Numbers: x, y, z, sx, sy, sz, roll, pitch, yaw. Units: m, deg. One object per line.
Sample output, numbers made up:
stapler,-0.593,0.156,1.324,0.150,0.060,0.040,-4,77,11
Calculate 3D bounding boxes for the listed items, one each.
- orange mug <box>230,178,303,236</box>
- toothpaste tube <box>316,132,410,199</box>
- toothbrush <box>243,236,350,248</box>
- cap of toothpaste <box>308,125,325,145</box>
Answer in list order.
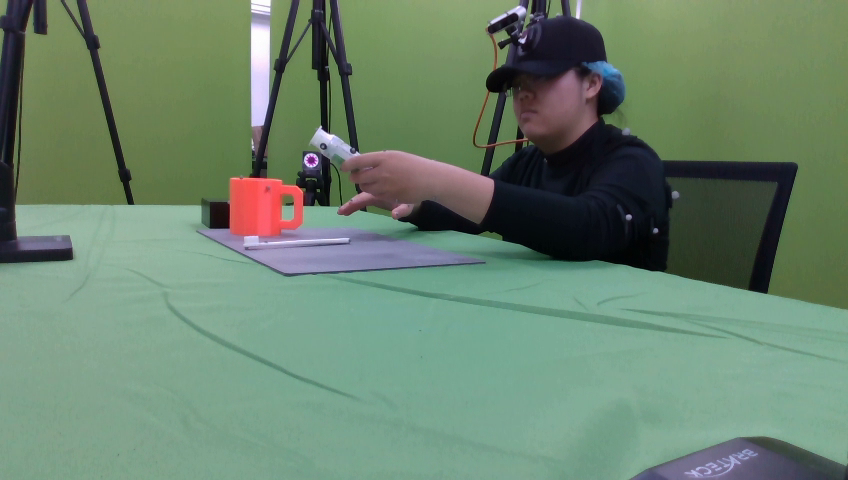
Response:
orange mug,-0.276,-0.060,1.058,0.126,0.101,0.083,-2,8,-5
toothpaste tube,-0.094,-0.112,0.916,0.165,0.034,0.055,33,-8,-15
toothbrush,-0.191,0.001,0.927,0.183,0.016,0.014,-2,-7,-41
cap of toothpaste,-0.159,-0.154,0.899,0.011,0.037,0.037,33,-1,-14
